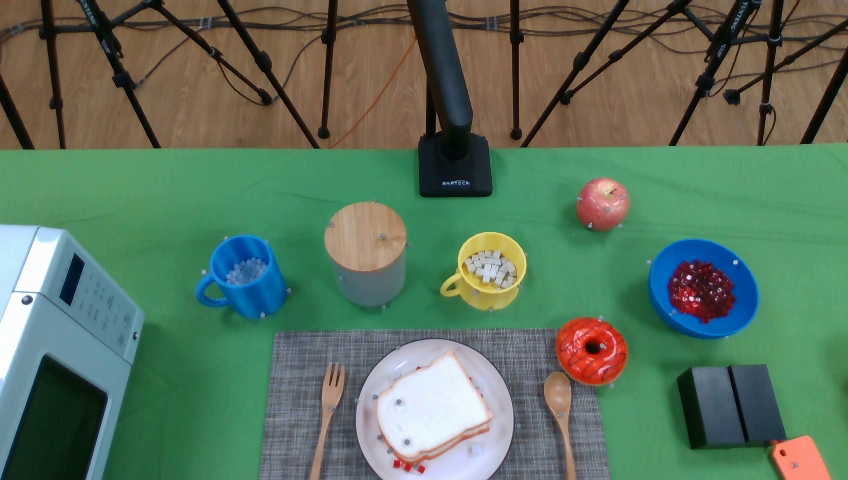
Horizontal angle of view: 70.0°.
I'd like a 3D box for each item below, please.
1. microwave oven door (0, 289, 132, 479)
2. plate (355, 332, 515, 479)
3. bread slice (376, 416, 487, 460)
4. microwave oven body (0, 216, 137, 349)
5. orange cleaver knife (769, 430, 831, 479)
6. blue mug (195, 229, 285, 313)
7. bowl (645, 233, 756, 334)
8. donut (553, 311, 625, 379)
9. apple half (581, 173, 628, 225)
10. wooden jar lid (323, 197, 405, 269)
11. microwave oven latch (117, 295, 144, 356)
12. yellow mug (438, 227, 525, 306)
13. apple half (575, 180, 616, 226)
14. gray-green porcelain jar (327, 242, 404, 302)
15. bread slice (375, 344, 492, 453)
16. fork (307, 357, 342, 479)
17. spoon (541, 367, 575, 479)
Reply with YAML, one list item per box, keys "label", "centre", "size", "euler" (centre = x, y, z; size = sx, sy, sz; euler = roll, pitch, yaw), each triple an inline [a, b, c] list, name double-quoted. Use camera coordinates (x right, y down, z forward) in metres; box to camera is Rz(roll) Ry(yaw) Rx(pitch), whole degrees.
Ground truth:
- label: "microwave oven door"
  centre: [-0.413, 0.259, 0.631]
  size: [0.039, 0.245, 0.352]
  euler: [2, 61, 0]
- label: "plate"
  centre: [0.014, 0.225, 0.798]
  size: [0.208, 0.039, 0.206]
  euler: [1, 62, -1]
- label: "bread slice"
  centre: [0.005, 0.227, 0.800]
  size: [0.132, 0.019, 0.104]
  euler: [-24, 66, -16]
- label: "microwave oven body"
  centre: [-0.558, 0.217, 0.654]
  size: [0.326, 0.262, 0.438]
  euler: [3, 62, -1]
- label: "orange cleaver knife"
  centre: [0.497, 0.347, 0.766]
  size: [0.077, 0.012, 0.209]
  euler: [4, 60, -8]
- label: "blue mug"
  centre: [-0.260, 0.052, 0.846]
  size: [0.116, 0.106, 0.081]
  euler: [-23, 65, -13]
- label: "bowl"
  centre: [0.385, 0.074, 0.875]
  size: [0.151, 0.077, 0.150]
  euler: [1, 62, -1]
- label: "donut"
  centre: [0.230, 0.146, 0.845]
  size: [0.099, 0.048, 0.098]
  euler: [1, 62, -2]
- label: "apple half"
  centre: [0.287, -0.067, 0.950]
  size: [0.053, 0.075, 0.080]
  euler: [-28, 62, -22]
- label: "wooden jar lid"
  centre: [-0.079, -0.008, 0.803]
  size: [0.108, 0.021, 0.107]
  euler: [1, 60, -1]
- label: "microwave oven latch"
  centre: [-0.405, 0.116, 0.824]
  size: [0.030, 0.030, 0.078]
  euler: [4, 62, 0]
- label: "yellow mug"
  centre: [0.080, 0.045, 0.886]
  size: [0.131, 0.064, 0.099]
  euler: [-22, 65, -12]
- label: "apple half"
  centre: [0.255, -0.049, 0.937]
  size: [0.033, 0.082, 0.080]
  euler: [-29, 66, -21]
- label: "gray-green porcelain jar"
  centre: [-0.080, 0.023, 0.858]
  size: [0.106, 0.127, 0.105]
  euler: [1, 61, -1]
- label: "bread slice"
  centre: [0.006, 0.210, 0.777]
  size: [0.134, 0.018, 0.106]
  euler: [-28, 63, -17]
- label: "fork"
  centre: [-0.134, 0.252, 0.788]
  size: [0.028, 0.019, 0.205]
  euler: [10, 60, -5]
- label: "spoon"
  centre: [0.182, 0.263, 0.792]
  size: [0.042, 0.022, 0.192]
  euler: [9, 59, -22]
